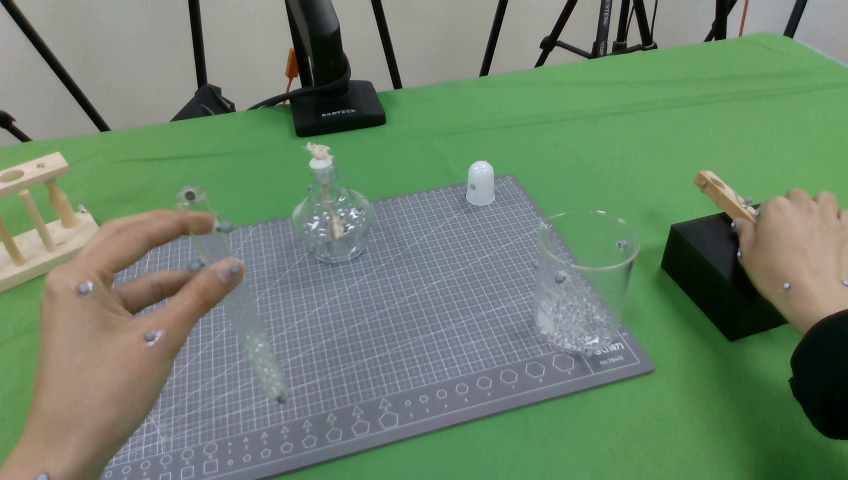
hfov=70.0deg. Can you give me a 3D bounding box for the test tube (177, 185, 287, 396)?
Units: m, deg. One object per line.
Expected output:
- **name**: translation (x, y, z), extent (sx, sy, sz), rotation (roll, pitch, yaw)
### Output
- **test tube**: translation (-0.104, 0.036, 0.341), extent (0.017, 0.151, 0.017), rotation (-6, 36, 5)

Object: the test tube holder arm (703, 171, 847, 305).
- **test tube holder arm**: translation (0.293, -0.009, 0.519), extent (0.013, 0.015, 0.176), rotation (-12, 41, -13)

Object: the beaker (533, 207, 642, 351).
- **beaker**: translation (0.123, 0.033, 0.486), extent (0.074, 0.101, 0.083), rotation (-33, 48, -31)

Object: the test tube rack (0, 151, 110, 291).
- **test tube rack**: translation (-0.439, 0.008, 0.562), extent (0.242, 0.086, 0.066), rotation (-29, 46, -28)

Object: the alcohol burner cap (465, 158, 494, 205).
- **alcohol burner cap**: translation (0.060, -0.065, 0.652), extent (0.034, 0.048, 0.033), rotation (-1, 40, 2)

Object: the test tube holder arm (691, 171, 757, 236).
- **test tube holder arm**: translation (0.274, -0.035, 0.551), extent (0.010, 0.015, 0.087), rotation (-11, 40, -12)

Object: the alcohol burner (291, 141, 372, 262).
- **alcohol burner**: translation (-0.090, -0.039, 0.573), extent (0.078, 0.120, 0.077), rotation (-3, 39, 3)
